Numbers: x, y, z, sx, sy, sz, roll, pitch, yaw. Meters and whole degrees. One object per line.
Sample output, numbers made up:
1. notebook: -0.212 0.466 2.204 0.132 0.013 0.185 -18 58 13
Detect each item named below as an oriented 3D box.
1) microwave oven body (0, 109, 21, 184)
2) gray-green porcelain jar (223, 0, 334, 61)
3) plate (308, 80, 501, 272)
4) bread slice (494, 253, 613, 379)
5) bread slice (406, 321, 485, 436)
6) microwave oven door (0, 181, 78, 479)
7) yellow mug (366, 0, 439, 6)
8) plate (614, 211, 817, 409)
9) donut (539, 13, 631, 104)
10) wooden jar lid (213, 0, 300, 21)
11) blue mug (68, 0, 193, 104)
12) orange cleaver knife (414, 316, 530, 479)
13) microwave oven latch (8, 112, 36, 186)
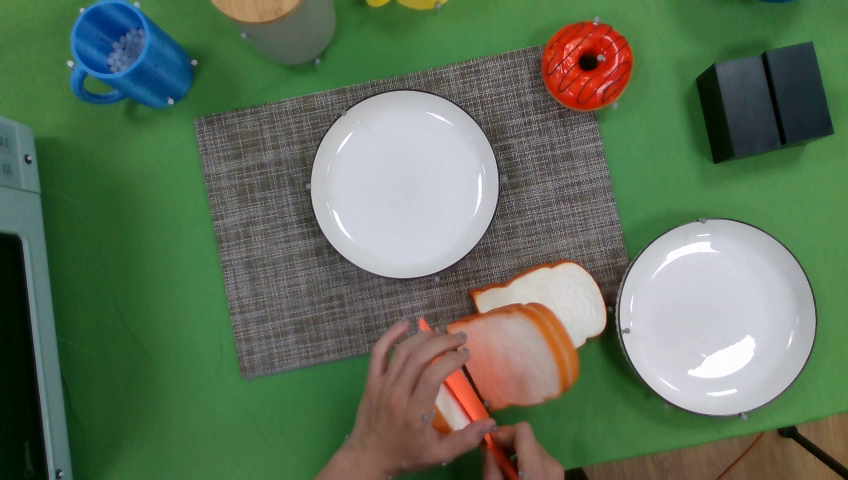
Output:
1. microwave oven body: -0.578 0.092 0.571 0.326 0.260 0.441 -9 88 1
2. gray-green porcelain jar: -0.154 -0.256 0.639 0.106 0.126 0.105 0 87 2
3. plate: -0.020 -0.068 0.667 0.207 0.039 0.207 0 88 2
4. bread slice: 0.141 0.069 0.617 0.135 0.018 0.106 -17 81 -38
5. bread slice: 0.021 0.141 0.616 0.019 0.131 0.105 -33 87 14
6. microwave oven door: -0.428 0.113 0.559 0.039 0.244 0.355 -9 87 2
7. yellow mug: -0.017 -0.310 0.666 0.131 0.064 0.100 -43 87 1
8. plate: 0.307 0.074 0.652 0.209 0.038 0.209 0 88 3
9. donut: 0.175 -0.197 0.661 0.099 0.048 0.099 0 88 2
10. wooden jar lid: -0.157 -0.260 0.577 0.108 0.021 0.108 0 86 3
11. blue mug: -0.324 -0.192 0.653 0.116 0.106 0.082 -37 86 1
12. orange cleaver knife: 0.051 0.168 0.618 0.012 0.077 0.211 -34 95 -1
13. microwave oven latch: -0.453 -0.099 0.670 0.030 0.029 0.079 -7 88 1
